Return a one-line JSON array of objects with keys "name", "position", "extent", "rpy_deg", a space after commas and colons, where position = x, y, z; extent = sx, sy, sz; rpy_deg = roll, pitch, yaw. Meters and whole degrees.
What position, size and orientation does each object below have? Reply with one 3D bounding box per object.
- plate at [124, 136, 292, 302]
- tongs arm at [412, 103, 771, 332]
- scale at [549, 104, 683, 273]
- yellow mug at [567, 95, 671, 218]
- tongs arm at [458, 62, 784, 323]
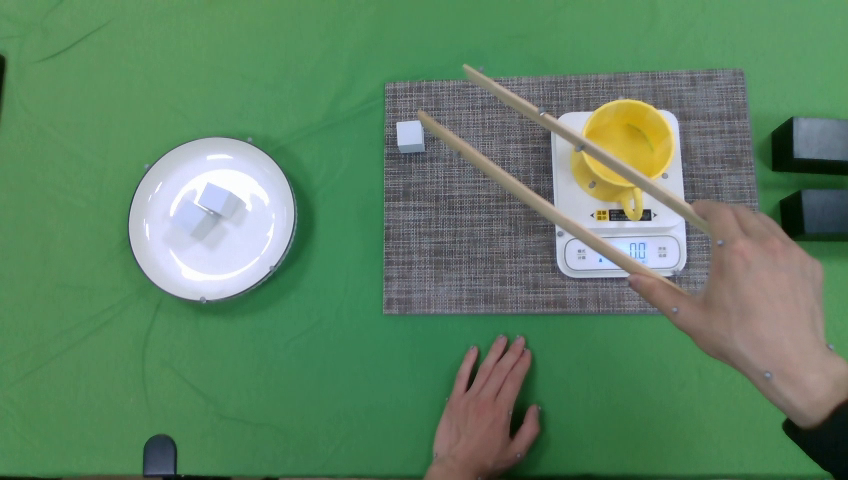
[{"name": "plate", "position": [-0.263, -0.025, 0.752], "extent": [0.207, 0.039, 0.207], "rpy_deg": [-1, 80, 4]}, {"name": "tongs arm", "position": [0.117, -0.036, 0.540], "extent": [0.028, 0.028, 0.383], "rpy_deg": [-43, 57, -12]}, {"name": "scale", "position": [0.228, -0.063, 0.722], "extent": [0.148, 0.032, 0.200], "rpy_deg": [-2, 80, 4]}, {"name": "yellow mug", "position": [0.220, -0.089, 0.680], "extent": [0.100, 0.064, 0.130], "rpy_deg": [-11, 81, 1]}, {"name": "tongs arm", "position": [0.146, -0.064, 0.544], "extent": [0.051, 0.027, 0.381], "rpy_deg": [-44, 57, -8]}]
